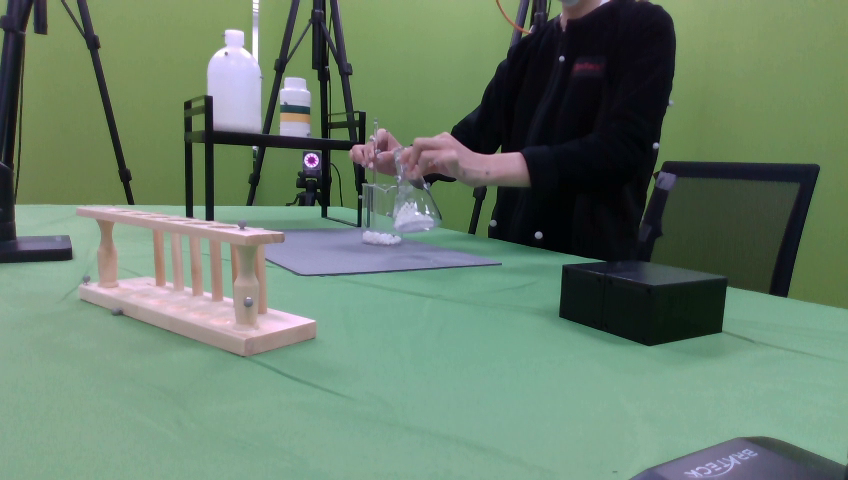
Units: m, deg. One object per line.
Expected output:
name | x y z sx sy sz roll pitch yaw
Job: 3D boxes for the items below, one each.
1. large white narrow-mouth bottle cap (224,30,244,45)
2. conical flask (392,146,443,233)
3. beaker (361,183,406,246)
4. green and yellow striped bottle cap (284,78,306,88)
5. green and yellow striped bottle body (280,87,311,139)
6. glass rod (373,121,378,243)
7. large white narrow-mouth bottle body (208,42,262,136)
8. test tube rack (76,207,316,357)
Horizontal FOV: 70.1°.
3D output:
large white narrow-mouth bottle cap | -0.365 -0.389 1.166 0.038 0.024 0.037 2 9 0
conical flask | -0.017 -0.076 0.887 0.075 0.121 0.075 -9 -12 -2
beaker | -0.067 -0.042 0.993 0.074 0.100 0.084 1 8 -8
green and yellow striped bottle cap | -0.268 -0.325 1.259 0.045 0.020 0.045 5 8 0
green and yellow striped bottle body | -0.269 -0.274 1.266 0.063 0.119 0.063 3 7 0
glass rod | -0.079 -0.094 0.979 0.008 0.199 0.008 0 -1 0
large white narrow-mouth bottle body | -0.369 -0.304 1.181 0.102 0.194 0.101 2 9 0
test tube rack | -0.196 0.023 0.500 0.241 0.085 0.067 8 9 36
